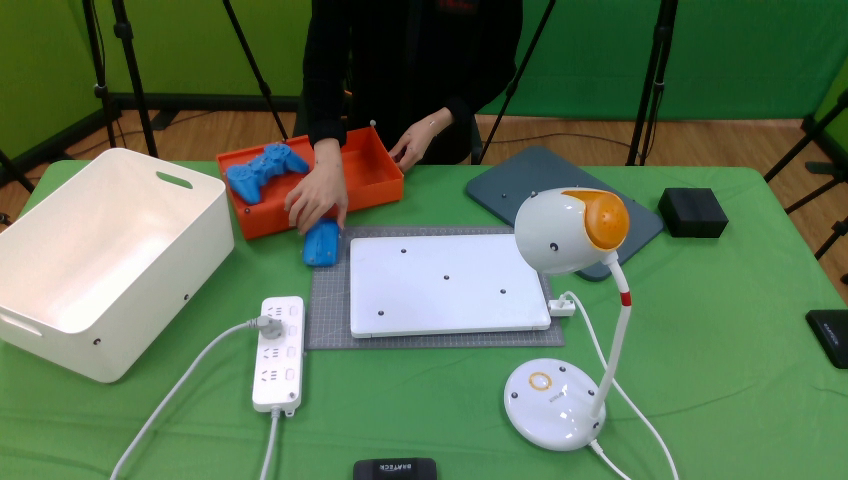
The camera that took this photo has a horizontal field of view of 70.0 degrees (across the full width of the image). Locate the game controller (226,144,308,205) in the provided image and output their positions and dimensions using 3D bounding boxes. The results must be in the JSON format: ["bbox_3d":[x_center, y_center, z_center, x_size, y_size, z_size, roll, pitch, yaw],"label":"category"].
[{"bbox_3d":[-0.314,-0.138,1.195,0.096,0.052,0.155,31,51,25],"label":"game controller"}]

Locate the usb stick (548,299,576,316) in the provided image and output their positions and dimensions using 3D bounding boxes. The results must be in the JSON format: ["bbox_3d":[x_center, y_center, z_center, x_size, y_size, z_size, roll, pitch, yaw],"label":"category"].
[{"bbox_3d":[0.239,0.121,1.084,0.059,0.027,0.021,-1,51,-1],"label":"usb stick"}]

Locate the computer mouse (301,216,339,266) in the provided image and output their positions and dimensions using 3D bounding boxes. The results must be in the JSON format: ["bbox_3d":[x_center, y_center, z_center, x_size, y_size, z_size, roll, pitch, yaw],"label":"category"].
[{"bbox_3d":[-0.199,-0.001,1.168,0.063,0.041,0.116,4,50,-4],"label":"computer mouse"}]

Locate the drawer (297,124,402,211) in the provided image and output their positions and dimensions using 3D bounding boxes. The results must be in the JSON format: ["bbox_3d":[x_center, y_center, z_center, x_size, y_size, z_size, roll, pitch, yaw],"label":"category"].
[{"bbox_3d":[-0.176,-0.148,1.288,0.212,0.073,0.193,-15,49,-18],"label":"drawer"}]

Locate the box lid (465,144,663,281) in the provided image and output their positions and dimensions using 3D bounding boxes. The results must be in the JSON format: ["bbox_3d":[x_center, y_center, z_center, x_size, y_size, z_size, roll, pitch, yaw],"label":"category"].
[{"bbox_3d":[0.297,-0.072,1.298,0.263,0.015,0.369,-33,56,-31],"label":"box lid"}]

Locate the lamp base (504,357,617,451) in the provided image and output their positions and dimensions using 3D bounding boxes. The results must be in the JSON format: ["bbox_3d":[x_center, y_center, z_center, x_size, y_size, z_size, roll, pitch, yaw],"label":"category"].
[{"bbox_3d":[0.220,0.211,0.903,0.160,0.181,0.178,-33,59,-30],"label":"lamp base"}]

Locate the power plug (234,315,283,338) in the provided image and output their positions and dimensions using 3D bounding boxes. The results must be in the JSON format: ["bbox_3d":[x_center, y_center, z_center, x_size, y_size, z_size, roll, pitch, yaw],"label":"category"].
[{"bbox_3d":[-0.270,0.143,1.000,0.072,0.053,0.035,5,47,2],"label":"power plug"}]

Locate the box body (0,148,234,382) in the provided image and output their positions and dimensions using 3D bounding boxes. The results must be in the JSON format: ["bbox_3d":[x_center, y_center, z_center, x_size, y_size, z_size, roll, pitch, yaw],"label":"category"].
[{"bbox_3d":[-0.525,0.033,1.027,0.254,0.161,0.362,18,47,13],"label":"box body"}]

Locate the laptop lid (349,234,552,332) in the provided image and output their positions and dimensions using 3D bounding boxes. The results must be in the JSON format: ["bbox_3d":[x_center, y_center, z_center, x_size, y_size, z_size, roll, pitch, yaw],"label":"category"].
[{"bbox_3d":[0.040,0.071,1.117,0.357,0.013,0.240,0,44,-5],"label":"laptop lid"}]

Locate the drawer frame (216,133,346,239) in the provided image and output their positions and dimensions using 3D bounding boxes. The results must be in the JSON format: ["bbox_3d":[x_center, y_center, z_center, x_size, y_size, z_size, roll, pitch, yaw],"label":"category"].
[{"bbox_3d":[-0.291,-0.115,1.244,0.214,0.083,0.200,-17,51,-20],"label":"drawer frame"}]

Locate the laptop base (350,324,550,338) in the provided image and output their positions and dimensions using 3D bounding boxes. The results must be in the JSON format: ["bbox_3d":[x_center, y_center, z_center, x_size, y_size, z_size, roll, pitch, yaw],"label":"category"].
[{"bbox_3d":[0.039,0.081,1.124,0.355,0.023,0.234,-2,43,-6],"label":"laptop base"}]

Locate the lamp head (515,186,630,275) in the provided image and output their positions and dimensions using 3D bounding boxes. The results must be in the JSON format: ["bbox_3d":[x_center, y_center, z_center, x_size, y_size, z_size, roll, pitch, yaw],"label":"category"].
[{"bbox_3d":[0.188,-0.013,0.728,0.112,0.112,0.122,-25,9,-25],"label":"lamp head"}]

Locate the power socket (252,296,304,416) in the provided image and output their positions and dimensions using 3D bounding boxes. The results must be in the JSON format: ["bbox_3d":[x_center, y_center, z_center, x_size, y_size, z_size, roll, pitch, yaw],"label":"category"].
[{"bbox_3d":[-0.238,0.182,0.997,0.072,0.033,0.225,-3,47,-5],"label":"power socket"}]
